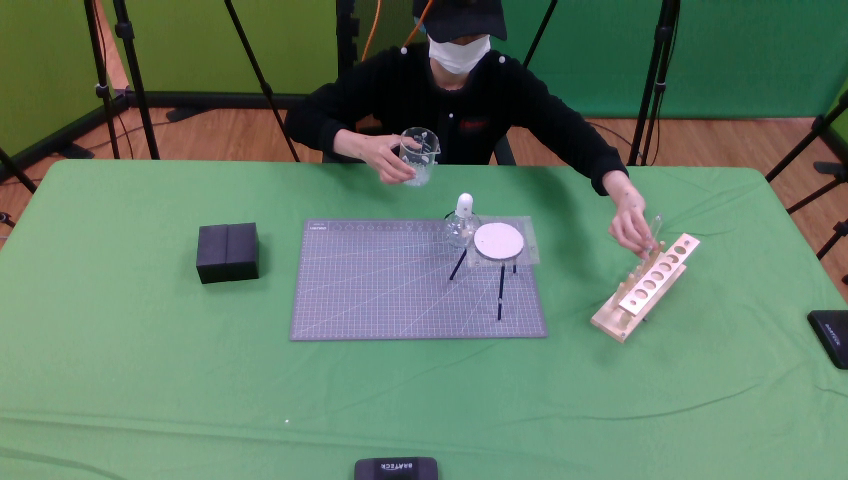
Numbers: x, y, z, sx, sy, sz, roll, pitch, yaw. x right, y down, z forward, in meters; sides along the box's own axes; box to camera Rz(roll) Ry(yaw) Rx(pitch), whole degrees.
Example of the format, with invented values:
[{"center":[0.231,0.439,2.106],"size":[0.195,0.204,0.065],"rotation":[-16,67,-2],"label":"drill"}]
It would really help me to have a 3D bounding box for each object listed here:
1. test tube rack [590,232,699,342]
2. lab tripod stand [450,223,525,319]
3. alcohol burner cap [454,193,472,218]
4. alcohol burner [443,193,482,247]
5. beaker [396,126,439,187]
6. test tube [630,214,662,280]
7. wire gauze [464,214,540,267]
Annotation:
[{"center":[0.407,0.074,1.111],"size":[0.066,0.085,0.242],"rotation":[35,54,26],"label":"test tube rack"},{"center":[0.120,0.046,1.080],"size":[0.148,0.132,0.147],"rotation":[1,47,-1],"label":"lab tripod stand"},{"center":[0.076,-0.068,1.151],"size":[0.034,0.048,0.033],"rotation":[4,46,-4],"label":"alcohol burner cap"},{"center":[0.075,-0.044,1.177],"size":[0.078,0.120,0.077],"rotation":[2,44,-1],"label":"alcohol burner"},{"center":[-0.014,-0.159,1.182],"size":[0.084,0.100,0.074],"rotation":[25,54,9],"label":"beaker"},{"center":[0.385,0.014,1.053],"size":[0.017,0.151,0.017],"rotation":[2,43,-1],"label":"test tube"},{"center":[0.131,-0.002,1.034],"size":[0.121,0.011,0.124],"rotation":[1,45,-2],"label":"wire gauze"}]
